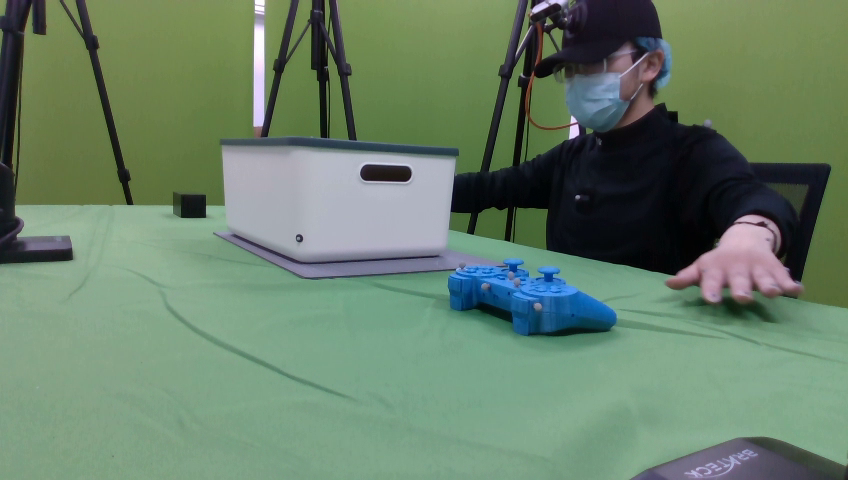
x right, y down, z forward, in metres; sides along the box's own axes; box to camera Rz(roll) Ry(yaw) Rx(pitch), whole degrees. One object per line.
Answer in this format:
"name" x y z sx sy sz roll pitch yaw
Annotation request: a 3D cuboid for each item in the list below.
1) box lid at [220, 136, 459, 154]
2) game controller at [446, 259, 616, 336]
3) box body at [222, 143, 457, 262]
"box lid" -0.144 -0.145 0.944 0.265 0.015 0.369 -2 9 -33
"game controller" 0.091 0.048 0.562 0.097 0.051 0.154 -6 10 -32
"box body" -0.148 -0.073 0.956 0.255 0.160 0.362 -3 9 -33
